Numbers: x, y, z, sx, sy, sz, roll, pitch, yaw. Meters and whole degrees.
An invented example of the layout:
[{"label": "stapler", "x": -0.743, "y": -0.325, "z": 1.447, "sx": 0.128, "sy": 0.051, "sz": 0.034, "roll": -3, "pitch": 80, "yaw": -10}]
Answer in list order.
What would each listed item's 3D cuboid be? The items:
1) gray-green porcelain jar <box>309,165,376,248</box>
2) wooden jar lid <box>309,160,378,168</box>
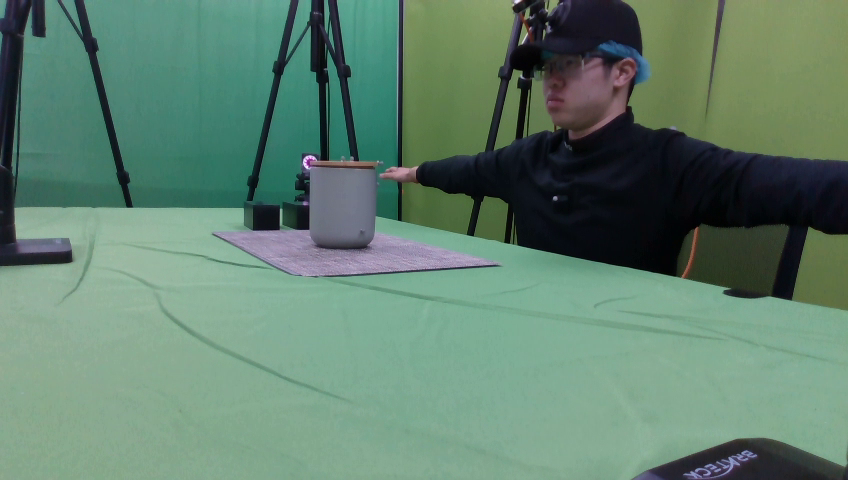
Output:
[{"label": "gray-green porcelain jar", "x": -0.130, "y": -0.054, "z": 0.966, "sx": 0.106, "sy": 0.126, "sz": 0.106, "roll": 2, "pitch": 7, "yaw": 0}, {"label": "wooden jar lid", "x": -0.127, "y": -0.117, "z": 0.957, "sx": 0.108, "sy": 0.020, "sz": 0.108, "roll": 1, "pitch": 7, "yaw": 0}]
